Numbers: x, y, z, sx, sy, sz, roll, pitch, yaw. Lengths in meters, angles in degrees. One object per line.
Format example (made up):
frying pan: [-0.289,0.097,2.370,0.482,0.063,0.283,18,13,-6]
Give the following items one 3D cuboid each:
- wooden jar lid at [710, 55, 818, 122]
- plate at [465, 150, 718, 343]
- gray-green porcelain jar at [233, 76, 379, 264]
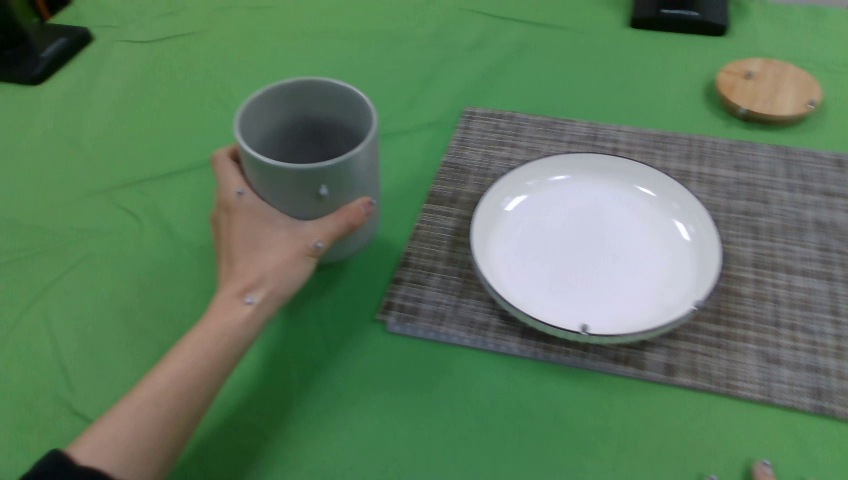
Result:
wooden jar lid: [0.373,-0.167,0.669,0.108,0.021,0.107,-2,51,3]
plate: [0.139,0.004,0.525,0.207,0.039,0.205,-2,50,3]
gray-green porcelain jar: [-0.090,-0.051,0.495,0.106,0.127,0.105,2,51,-2]
